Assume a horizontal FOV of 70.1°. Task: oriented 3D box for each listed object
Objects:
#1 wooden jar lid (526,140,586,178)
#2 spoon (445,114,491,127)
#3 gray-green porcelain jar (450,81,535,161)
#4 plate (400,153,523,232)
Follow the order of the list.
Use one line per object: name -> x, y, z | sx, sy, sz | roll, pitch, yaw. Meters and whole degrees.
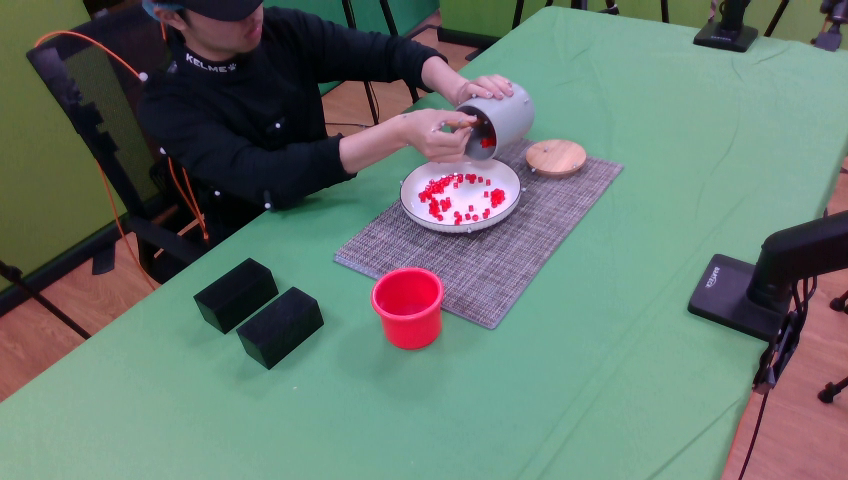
wooden jar lid -> 0.240, -0.147, 1.103 | 0.108, 0.021, 0.108 | -4, 42, 4
spoon -> 0.086, -0.199, 1.016 | 0.041, 0.021, 0.194 | 11, 20, 27
gray-green porcelain jar -> 0.125, -0.212, 1.060 | 0.105, 0.106, 0.127 | 26, 48, 33
plate -> 0.065, -0.078, 1.034 | 0.207, 0.039, 0.206 | -4, 41, 4
